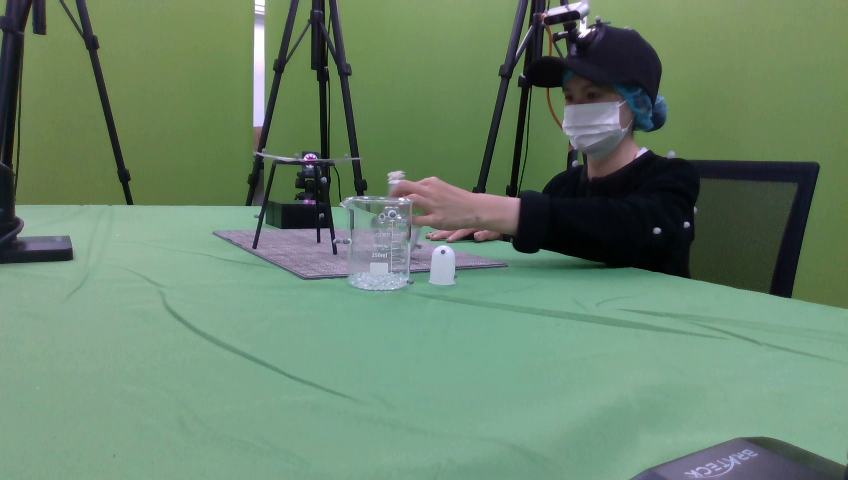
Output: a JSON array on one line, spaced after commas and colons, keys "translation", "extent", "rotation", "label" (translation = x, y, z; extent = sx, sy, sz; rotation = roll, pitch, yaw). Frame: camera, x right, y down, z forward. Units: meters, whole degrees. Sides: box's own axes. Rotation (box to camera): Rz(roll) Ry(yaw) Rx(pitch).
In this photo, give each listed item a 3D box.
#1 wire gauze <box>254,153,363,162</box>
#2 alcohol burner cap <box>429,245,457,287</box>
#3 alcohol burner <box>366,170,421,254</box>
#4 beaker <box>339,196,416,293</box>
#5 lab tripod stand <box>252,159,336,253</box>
[{"translation": [-0.172, -0.119, 0.891], "extent": [0.122, 0.011, 0.124], "rotation": [-2, 7, -38], "label": "wire gauze"}, {"translation": [0.024, 0.030, 0.705], "extent": [0.034, 0.048, 0.034], "rotation": [3, 7, 0], "label": "alcohol burner cap"}, {"translation": [-0.043, -0.040, 0.864], "extent": [0.078, 0.119, 0.078], "rotation": [1, 4, 0], "label": "alcohol burner"}, {"translation": [-0.052, 0.004, 0.661], "extent": [0.084, 0.100, 0.073], "rotation": [0, 7, -18], "label": "beaker"}, {"translation": [-0.180, -0.053, 0.900], "extent": [0.148, 0.131, 0.148], "rotation": [1, 6, 0], "label": "lab tripod stand"}]
